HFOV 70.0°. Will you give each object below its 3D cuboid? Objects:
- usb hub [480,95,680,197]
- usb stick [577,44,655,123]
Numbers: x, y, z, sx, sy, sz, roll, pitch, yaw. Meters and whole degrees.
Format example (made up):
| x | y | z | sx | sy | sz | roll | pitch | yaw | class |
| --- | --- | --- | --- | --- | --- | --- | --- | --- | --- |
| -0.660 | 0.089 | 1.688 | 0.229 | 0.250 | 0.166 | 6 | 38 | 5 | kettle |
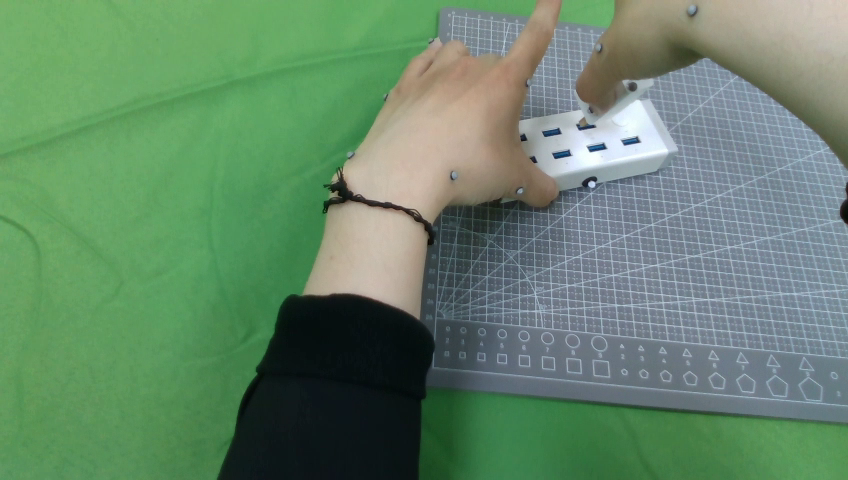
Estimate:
| x | y | z | sx | sy | sz | roll | pitch | yaw | class |
| --- | --- | --- | --- | --- | --- | --- | --- | --- | --- |
| 0.104 | -0.066 | 0.408 | 0.125 | 0.025 | 0.049 | -11 | 65 | -13 | usb hub |
| 0.114 | -0.093 | 0.375 | 0.021 | 0.059 | 0.027 | -24 | 81 | -18 | usb stick |
